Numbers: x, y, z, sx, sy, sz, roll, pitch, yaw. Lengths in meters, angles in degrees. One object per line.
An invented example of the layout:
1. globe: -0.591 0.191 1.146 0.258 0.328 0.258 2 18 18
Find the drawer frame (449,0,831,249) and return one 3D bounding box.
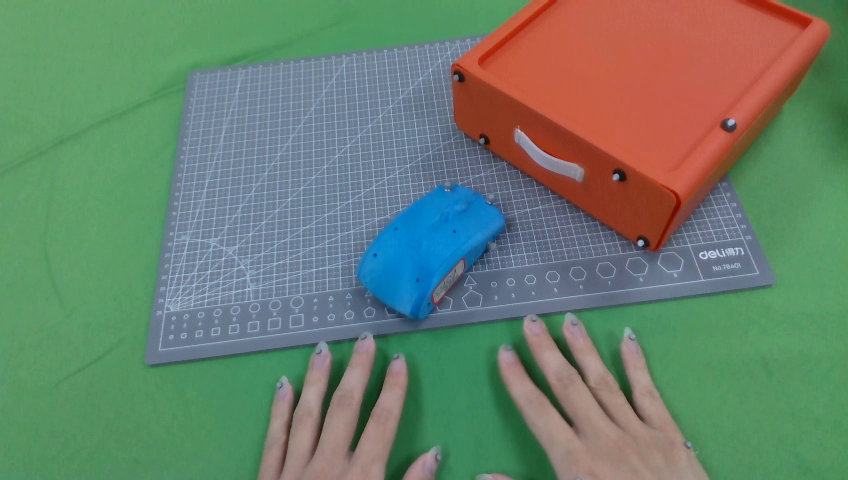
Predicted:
1. drawer frame: 0.163 -0.131 0.482 0.200 0.083 0.213 37 67 24

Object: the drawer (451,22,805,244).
1. drawer: 0.162 -0.129 0.483 0.193 0.074 0.211 38 68 24

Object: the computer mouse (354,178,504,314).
1. computer mouse: 0.005 -0.002 0.444 0.062 0.041 0.117 33 63 24
